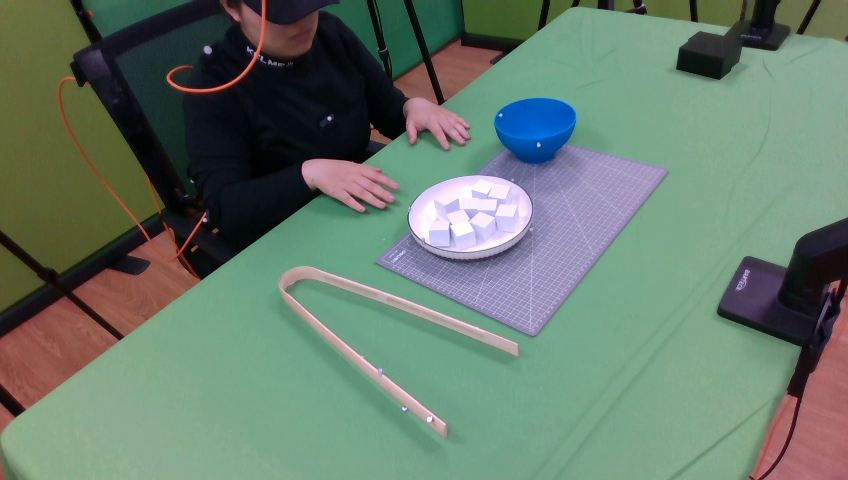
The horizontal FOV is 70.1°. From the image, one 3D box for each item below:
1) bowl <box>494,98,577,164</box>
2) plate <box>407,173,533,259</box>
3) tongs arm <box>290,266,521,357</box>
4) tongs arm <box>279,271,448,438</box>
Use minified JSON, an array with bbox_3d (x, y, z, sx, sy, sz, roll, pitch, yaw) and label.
[{"bbox_3d":[0.207,-0.195,1.128,0.151,0.077,0.150,-5,40,5],"label":"bowl"},{"bbox_3d":[0.076,-0.037,0.997,0.207,0.039,0.206,-5,40,5],"label":"plate"},{"bbox_3d":[-0.039,0.097,0.871,0.385,0.028,0.028,16,49,28],"label":"tongs arm"},{"bbox_3d":[-0.092,0.140,0.825,0.381,0.026,0.051,28,51,37],"label":"tongs arm"}]
